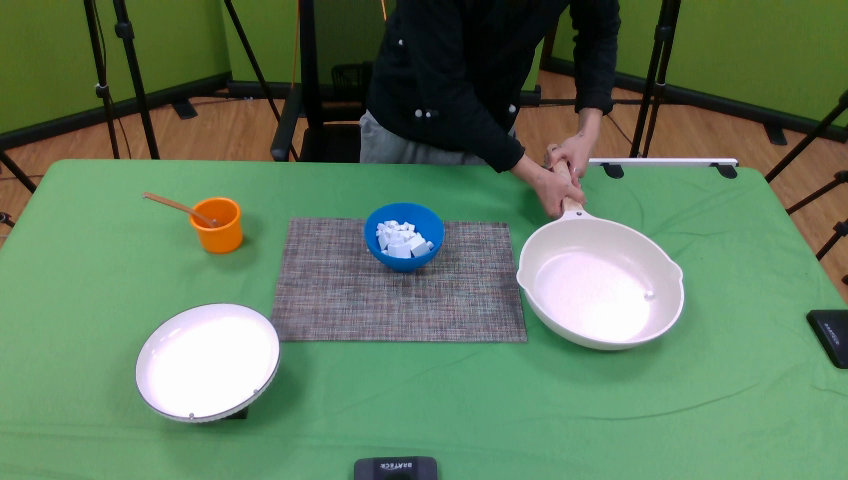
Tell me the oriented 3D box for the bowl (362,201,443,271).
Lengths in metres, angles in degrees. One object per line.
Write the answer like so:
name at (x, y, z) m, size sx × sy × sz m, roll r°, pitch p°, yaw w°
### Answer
bowl at (-0.041, 0.005, 1.144) m, size 0.151 × 0.077 × 0.150 m, roll 3°, pitch 46°, yaw -3°

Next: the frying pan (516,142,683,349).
frying pan at (0.303, -0.006, 1.163) m, size 0.307 × 0.103 × 0.484 m, roll -2°, pitch 56°, yaw -8°

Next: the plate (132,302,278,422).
plate at (-0.325, 0.186, 0.916) m, size 0.208 × 0.039 × 0.206 m, roll 3°, pitch 44°, yaw -2°

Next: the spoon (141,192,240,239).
spoon at (-0.428, -0.048, 1.122) m, size 0.021 × 0.195 × 0.041 m, roll -37°, pitch 44°, yaw 21°
